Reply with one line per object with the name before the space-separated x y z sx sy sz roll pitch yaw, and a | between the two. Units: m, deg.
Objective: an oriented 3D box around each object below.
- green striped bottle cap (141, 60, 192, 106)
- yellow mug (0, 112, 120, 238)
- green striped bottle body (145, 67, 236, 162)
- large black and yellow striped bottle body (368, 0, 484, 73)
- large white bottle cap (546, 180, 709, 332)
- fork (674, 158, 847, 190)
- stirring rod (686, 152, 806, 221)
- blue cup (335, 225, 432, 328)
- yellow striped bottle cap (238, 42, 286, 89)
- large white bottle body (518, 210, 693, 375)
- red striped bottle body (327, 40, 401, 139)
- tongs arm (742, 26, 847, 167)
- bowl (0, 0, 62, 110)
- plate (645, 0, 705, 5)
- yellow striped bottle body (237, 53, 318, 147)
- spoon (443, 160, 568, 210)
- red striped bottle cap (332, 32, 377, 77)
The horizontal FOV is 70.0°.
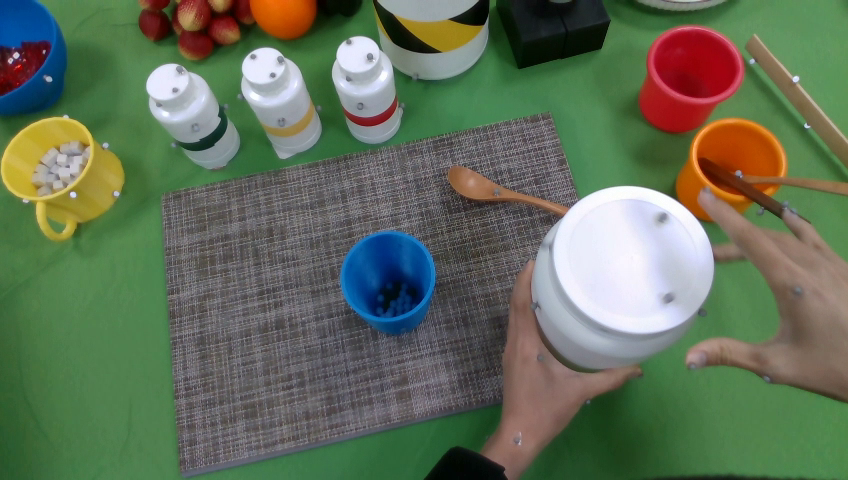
green striped bottle cap | -0.254 -0.155 0.598 0.044 0.020 0.044 -1 69 2
yellow mug | -0.397 -0.065 0.657 0.100 0.064 0.130 -3 70 1
green striped bottle body | -0.251 -0.137 0.647 0.063 0.120 0.063 -1 70 3
large black and yellow striped bottle body | 0.001 -0.284 0.653 0.131 0.185 0.130 -1 70 3
large white bottle cap | 0.148 0.010 0.444 0.115 0.018 0.114 -1 70 3
fork | 0.332 -0.060 0.574 0.028 0.019 0.205 -50 31 -14
stirring rod | 0.302 -0.055 0.581 0.014 0.006 0.174 -11 27 -3
blue cup | -0.034 0.044 0.577 0.092 0.101 0.092 0 70 2
yellow striped bottle cap | -0.161 -0.173 0.600 0.044 0.019 0.044 0 72 2
large white bottle body | 0.153 0.039 0.524 0.130 0.186 0.129 -1 69 3
red striped bottle body | -0.064 -0.165 0.648 0.063 0.120 0.062 -3 68 7
tongs arm | 0.471 -0.086 0.636 0.051 0.027 0.382 -25 72 -8
bowl | -0.486 -0.206 0.706 0.151 0.077 0.150 -1 70 2
plate | 0.301 -0.371 0.747 0.209 0.038 0.207 -1 71 2
yellow striped bottle body | -0.158 -0.155 0.648 0.063 0.121 0.062 -1 70 4
spoon | 0.112 -0.045 0.644 0.193 0.022 0.041 18 47 8
red striped bottle cap | -0.069 -0.184 0.598 0.044 0.018 0.044 1 68 -1
